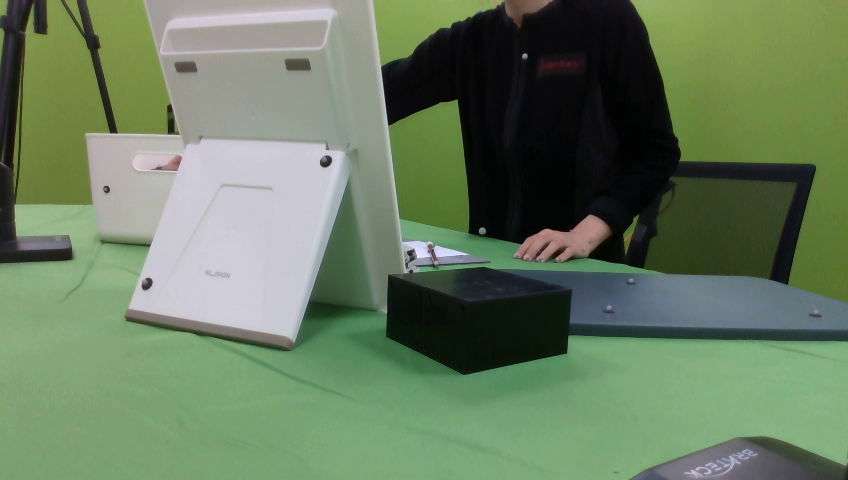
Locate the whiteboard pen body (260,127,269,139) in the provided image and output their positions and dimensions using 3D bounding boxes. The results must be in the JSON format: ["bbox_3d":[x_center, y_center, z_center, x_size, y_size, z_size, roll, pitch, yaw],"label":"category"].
[{"bbox_3d":[-0.366,-0.247,1.392,0.017,0.017,0.140,0,3,-17],"label":"whiteboard pen body"}]

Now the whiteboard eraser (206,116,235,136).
[{"bbox_3d":[-0.450,-0.252,1.335,0.056,0.042,0.112,1,7,-22],"label":"whiteboard eraser"}]

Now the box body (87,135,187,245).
[{"bbox_3d":[-0.338,-0.088,1.022,0.254,0.160,0.364,3,7,9],"label":"box body"}]

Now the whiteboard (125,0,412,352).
[{"bbox_3d":[-0.151,-0.049,0.472,0.216,0.305,0.144,6,27,24],"label":"whiteboard"}]

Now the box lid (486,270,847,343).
[{"bbox_3d":[0.266,0.066,0.643,0.372,0.015,0.263,2,7,-5],"label":"box lid"}]

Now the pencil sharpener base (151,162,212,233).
[{"bbox_3d":[-0.407,-0.072,1.016,0.061,0.107,0.077,3,17,11],"label":"pencil sharpener base"}]

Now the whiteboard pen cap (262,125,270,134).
[{"bbox_3d":[-0.349,-0.244,1.336,0.018,0.018,0.033,0,2,-17],"label":"whiteboard pen cap"}]

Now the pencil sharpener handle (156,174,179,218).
[{"bbox_3d":[-0.413,-0.069,0.963,0.036,0.068,0.030,-14,14,15],"label":"pencil sharpener handle"}]

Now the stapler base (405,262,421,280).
[{"bbox_3d":[-0.069,0.027,0.759,0.130,0.024,0.041,9,13,23],"label":"stapler base"}]

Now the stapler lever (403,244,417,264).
[{"bbox_3d":[-0.066,0.003,0.755,0.117,0.040,0.027,9,13,23],"label":"stapler lever"}]

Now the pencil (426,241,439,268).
[{"bbox_3d":[0.013,0.021,0.885,0.012,0.012,0.194,2,9,-3],"label":"pencil"}]
